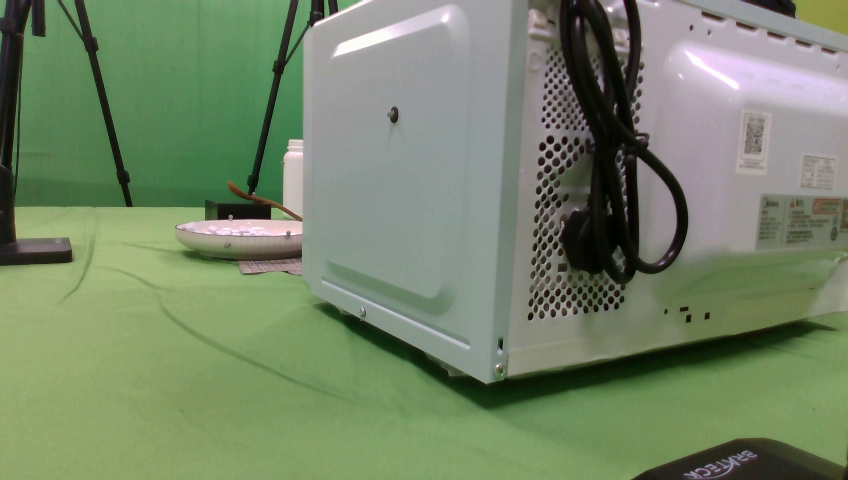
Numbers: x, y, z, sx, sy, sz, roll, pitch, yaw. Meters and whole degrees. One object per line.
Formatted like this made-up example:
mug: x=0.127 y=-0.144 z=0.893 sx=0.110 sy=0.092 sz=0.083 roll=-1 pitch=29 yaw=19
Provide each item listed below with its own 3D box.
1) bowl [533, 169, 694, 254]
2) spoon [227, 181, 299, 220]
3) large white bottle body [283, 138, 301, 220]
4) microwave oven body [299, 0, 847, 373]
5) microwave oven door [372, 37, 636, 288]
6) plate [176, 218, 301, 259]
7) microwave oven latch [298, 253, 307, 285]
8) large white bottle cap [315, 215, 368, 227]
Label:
bowl: x=0.181 y=-0.030 z=0.595 sx=0.151 sy=0.077 sz=0.151 roll=2 pitch=7 yaw=0
spoon: x=-0.315 y=-0.074 z=1.235 sx=0.195 sy=0.021 sz=0.041 roll=24 pitch=-10 yaw=-37
large white bottle body: x=-0.265 y=-0.143 z=1.423 sx=0.131 sy=0.184 sz=0.130 roll=2 pitch=8 yaw=0
microwave oven body: x=0.152 y=-0.055 z=0.542 sx=0.444 sy=0.260 sz=0.324 roll=-2 pitch=7 yaw=-33
microwave oven door: x=0.110 y=-0.080 z=0.686 sx=0.358 sy=0.243 sz=0.039 roll=-2 pitch=9 yaw=-33
plate: x=-0.248 y=-0.003 z=0.877 sx=0.209 sy=0.038 sz=0.209 roll=1 pitch=8 yaw=0
microwave oven latch: x=-0.081 y=0.027 z=0.582 sx=0.079 sy=0.029 sz=0.030 roll=-1 pitch=7 yaw=-32
large white bottle cap: x=-0.177 y=-0.041 z=1.309 sx=0.115 sy=0.018 sz=0.115 roll=2 pitch=6 yaw=0
